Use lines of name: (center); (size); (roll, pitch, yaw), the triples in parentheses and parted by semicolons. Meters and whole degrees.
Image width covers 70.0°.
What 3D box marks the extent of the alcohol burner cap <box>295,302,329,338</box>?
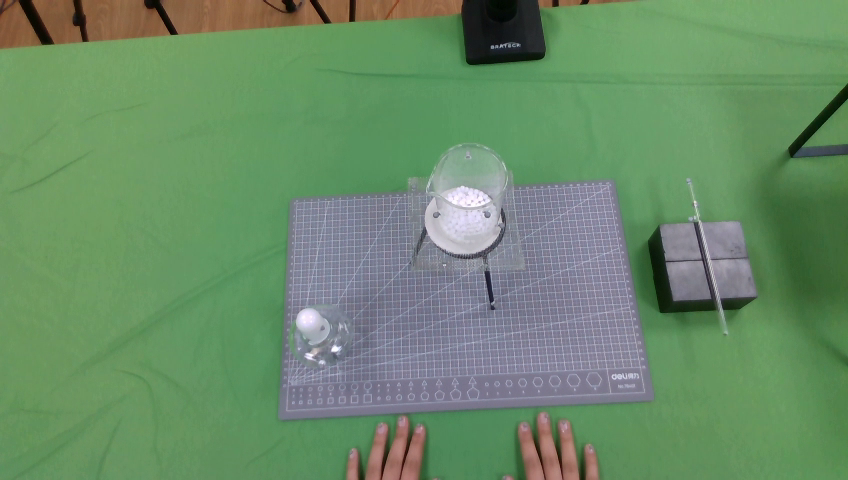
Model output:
alcohol burner cap: (-0.127, 0.088, 0.678); (0.034, 0.048, 0.033); (-3, 63, 6)

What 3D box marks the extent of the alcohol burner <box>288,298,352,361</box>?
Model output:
alcohol burner: (-0.125, 0.101, 0.711); (0.078, 0.120, 0.077); (0, 69, 1)

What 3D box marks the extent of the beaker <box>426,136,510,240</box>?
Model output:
beaker: (0.044, -0.048, 0.631); (0.084, 0.101, 0.073); (-18, 68, -5)

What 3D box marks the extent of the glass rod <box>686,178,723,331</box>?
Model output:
glass rod: (0.340, 0.013, 0.736); (0.008, 0.008, 0.198); (-3, 68, 2)

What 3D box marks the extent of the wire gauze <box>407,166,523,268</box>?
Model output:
wire gauze: (0.044, -0.026, 0.674); (0.125, 0.011, 0.120); (-1, 69, -1)

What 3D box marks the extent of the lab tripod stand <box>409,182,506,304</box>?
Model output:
lab tripod stand: (0.050, -0.005, 0.736); (0.148, 0.132, 0.147); (-1, 66, 3)
